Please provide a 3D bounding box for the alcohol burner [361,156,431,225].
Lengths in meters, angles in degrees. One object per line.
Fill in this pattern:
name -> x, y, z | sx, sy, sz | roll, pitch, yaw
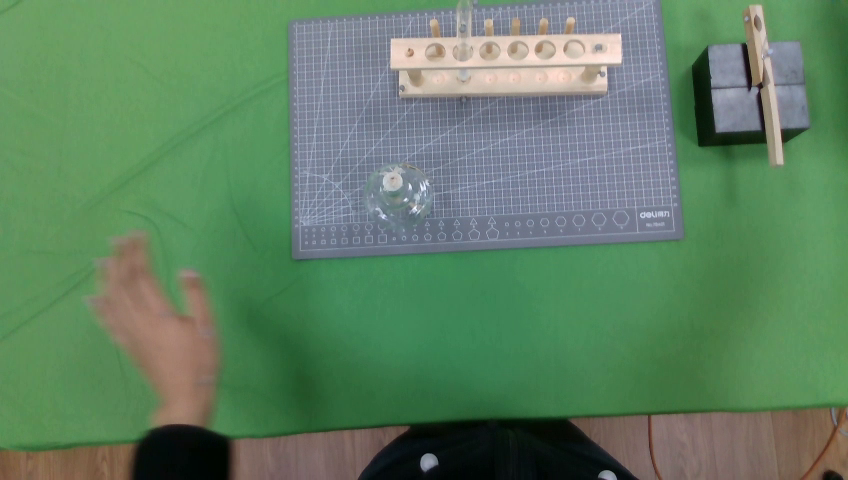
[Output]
alcohol burner -> -0.032, -0.057, 0.654 | 0.078, 0.119, 0.077 | 0, 81, 3

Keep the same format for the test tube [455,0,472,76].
test tube -> 0.040, -0.209, 0.634 | 0.017, 0.151, 0.017 | 0, 81, 3

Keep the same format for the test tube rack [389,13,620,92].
test tube rack -> 0.087, -0.215, 0.681 | 0.242, 0.085, 0.066 | 0, 83, 4

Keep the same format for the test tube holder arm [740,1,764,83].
test tube holder arm -> 0.355, -0.213, 0.652 | 0.010, 0.015, 0.087 | -6, 84, -1

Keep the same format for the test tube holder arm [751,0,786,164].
test tube holder arm -> 0.366, -0.170, 0.648 | 0.013, 0.015, 0.178 | -8, 84, -1
